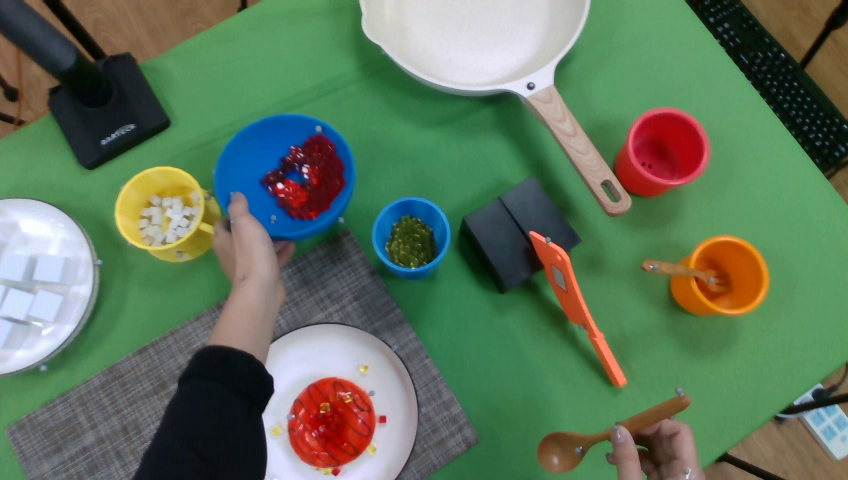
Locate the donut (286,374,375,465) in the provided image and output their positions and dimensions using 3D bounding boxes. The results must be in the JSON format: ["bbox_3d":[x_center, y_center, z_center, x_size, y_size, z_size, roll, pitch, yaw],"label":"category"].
[{"bbox_3d":[-0.103,0.198,0.670,0.099,0.048,0.098,1,80,-3],"label":"donut"}]

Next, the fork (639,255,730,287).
[{"bbox_3d":[0.295,0.033,0.677,0.209,0.018,0.028,10,72,-44],"label":"fork"}]

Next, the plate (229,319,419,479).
[{"bbox_3d":[-0.110,0.195,0.682,0.209,0.038,0.208,0,78,-2],"label":"plate"}]

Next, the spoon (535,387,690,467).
[{"bbox_3d":[0.170,0.177,0.566,0.022,0.194,0.041,-18,71,-38],"label":"spoon"}]

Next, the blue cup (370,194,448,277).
[{"bbox_3d":[-0.017,0.003,0.699,0.093,0.100,0.092,0,75,-1],"label":"blue cup"}]

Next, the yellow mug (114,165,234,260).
[{"bbox_3d":[-0.286,-0.026,0.715,0.131,0.064,0.099,20,78,2],"label":"yellow mug"}]

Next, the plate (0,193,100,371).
[{"bbox_3d":[-0.480,0.049,0.707,0.208,0.039,0.206,0,78,-1],"label":"plate"}]

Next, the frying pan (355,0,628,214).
[{"bbox_3d":[0.104,-0.233,0.753,0.307,0.103,0.484,-27,72,-6],"label":"frying pan"}]

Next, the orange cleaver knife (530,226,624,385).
[{"bbox_3d":[0.175,0.076,0.698,0.012,0.076,0.213,-32,109,-8],"label":"orange cleaver knife"}]

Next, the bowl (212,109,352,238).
[{"bbox_3d":[-0.153,-0.063,0.687,0.151,0.077,0.150,1,69,-1],"label":"bowl"}]
